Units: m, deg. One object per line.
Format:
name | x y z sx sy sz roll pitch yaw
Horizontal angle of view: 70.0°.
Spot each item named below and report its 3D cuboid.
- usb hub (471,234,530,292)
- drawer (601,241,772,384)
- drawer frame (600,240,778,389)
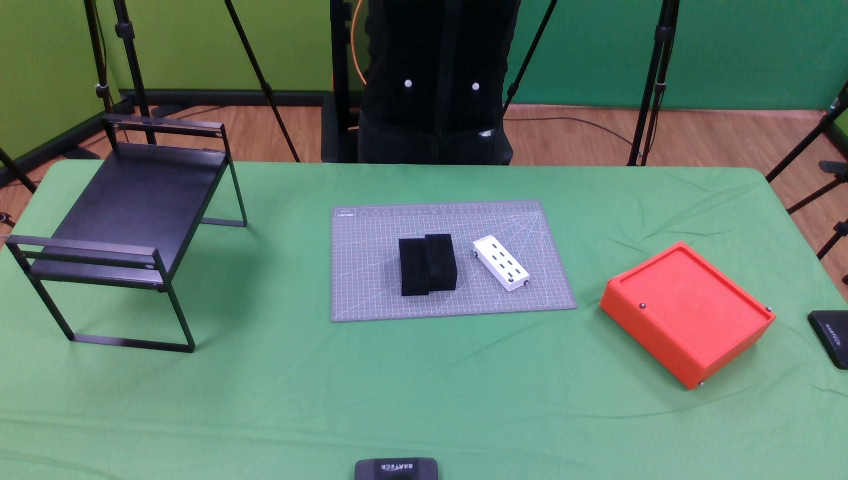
usb hub | 0.145 0.042 1.160 0.049 0.025 0.124 -23 51 -23
drawer | 0.458 0.121 1.072 0.194 0.073 0.210 -23 52 -25
drawer frame | 0.460 0.122 1.068 0.202 0.083 0.212 -25 53 -25
